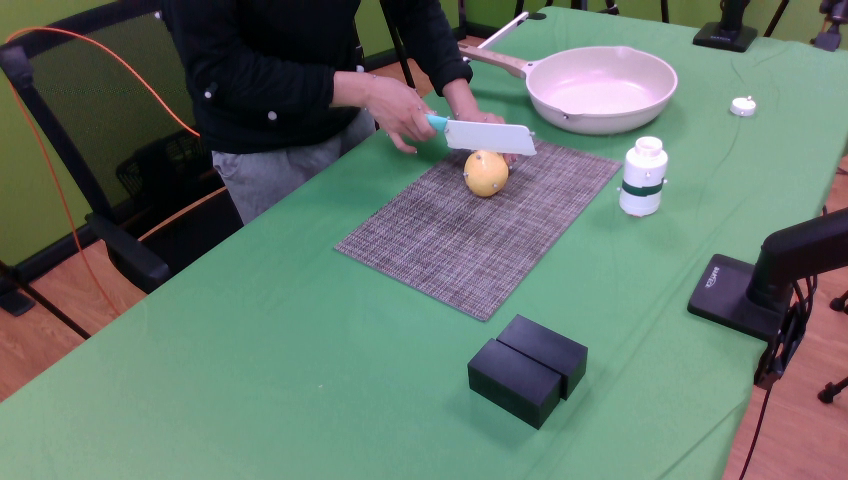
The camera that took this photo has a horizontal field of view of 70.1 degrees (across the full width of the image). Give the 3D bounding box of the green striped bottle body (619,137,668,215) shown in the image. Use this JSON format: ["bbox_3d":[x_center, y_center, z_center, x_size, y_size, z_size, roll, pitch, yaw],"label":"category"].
[{"bbox_3d":[0.350,-0.103,0.963,0.063,0.120,0.063,-4,41,4],"label":"green striped bottle body"}]

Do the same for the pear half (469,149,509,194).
[{"bbox_3d":[0.113,-0.137,1.038,0.076,0.110,0.056,28,54,30],"label":"pear half"}]

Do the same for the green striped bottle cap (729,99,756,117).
[{"bbox_3d":[0.623,-0.259,1.182,0.044,0.020,0.044,-3,40,3],"label":"green striped bottle cap"}]

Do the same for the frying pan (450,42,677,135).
[{"bbox_3d":[0.268,-0.344,1.267,0.485,0.103,0.307,25,49,21],"label":"frying pan"}]

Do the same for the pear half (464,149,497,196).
[{"bbox_3d":[0.091,-0.110,1.025,0.070,0.088,0.031,26,51,30],"label":"pear half"}]

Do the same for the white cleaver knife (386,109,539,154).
[{"bbox_3d":[0.054,-0.177,1.001,0.284,0.066,0.021,15,54,32],"label":"white cleaver knife"}]
